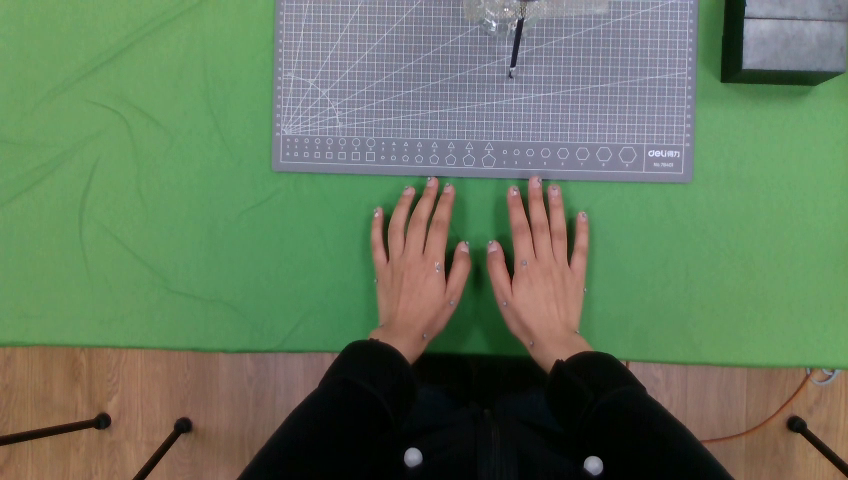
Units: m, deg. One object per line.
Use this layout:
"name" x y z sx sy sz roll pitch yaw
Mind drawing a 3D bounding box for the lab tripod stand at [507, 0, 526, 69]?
"lab tripod stand" 0.095 -0.256 0.579 0.148 0.131 0.148 0 89 2

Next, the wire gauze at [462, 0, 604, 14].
"wire gauze" 0.090 -0.254 0.515 0.125 0.011 0.121 -3 93 0

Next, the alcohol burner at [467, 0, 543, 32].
"alcohol burner" 0.081 -0.249 0.590 0.078 0.119 0.078 0 90 1
